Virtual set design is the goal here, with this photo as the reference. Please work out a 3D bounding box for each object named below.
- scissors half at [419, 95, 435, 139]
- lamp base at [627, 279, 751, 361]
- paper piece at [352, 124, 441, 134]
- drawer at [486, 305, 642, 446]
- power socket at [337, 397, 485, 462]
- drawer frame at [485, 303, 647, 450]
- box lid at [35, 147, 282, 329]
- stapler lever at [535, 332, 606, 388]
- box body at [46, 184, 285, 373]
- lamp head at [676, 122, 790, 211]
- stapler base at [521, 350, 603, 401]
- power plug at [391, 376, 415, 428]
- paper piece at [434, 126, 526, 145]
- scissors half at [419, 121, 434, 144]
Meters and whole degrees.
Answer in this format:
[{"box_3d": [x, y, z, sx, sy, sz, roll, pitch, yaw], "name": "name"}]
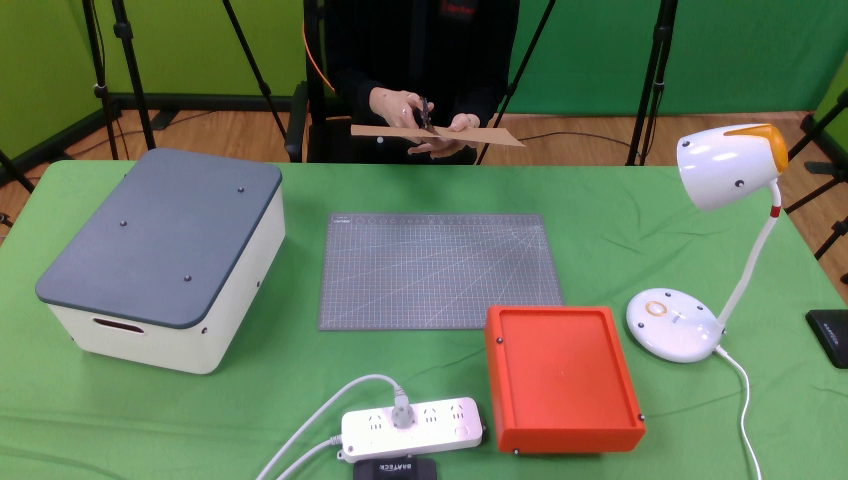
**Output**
[{"box_3d": [0.005, -0.211, 1.048, 0.013, 0.040, 0.174, -7, 35, -4], "name": "scissors half"}, {"box_3d": [0.460, 0.100, 1.026, 0.178, 0.181, 0.160, 27, 51, 17], "name": "lamp base"}, {"box_3d": [-0.047, -0.176, 0.961, 0.135, 0.004, 0.135, 0, 16, -6], "name": "paper piece"}, {"box_3d": [0.202, 0.200, 0.918, 0.195, 0.073, 0.210, 2, 47, -4], "name": "drawer"}, {"box_3d": [-0.018, 0.285, 0.915, 0.227, 0.033, 0.071, -4, 46, -8], "name": "power socket"}, {"box_3d": [0.204, 0.202, 0.917, 0.202, 0.083, 0.212, 1, 47, -4], "name": "drawer frame"}, {"box_3d": [-0.411, -0.023, 0.987, 0.263, 0.015, 0.369, 10, 47, 5], "name": "box lid"}, {"box_3d": [0.225, 0.182, 0.929, 0.118, 0.040, 0.027, 27, 34, 15], "name": "stapler lever"}, {"box_3d": [-0.414, 0.029, 1.040, 0.254, 0.161, 0.362, 10, 46, 5], "name": "box body"}, {"box_3d": [0.423, -0.104, 0.819, 0.122, 0.113, 0.112, -13, 33, 40], "name": "lamp head"}, {"box_3d": [0.217, 0.203, 0.942, 0.130, 0.024, 0.041, 26, 34, 16], "name": "stapler base"}, {"box_3d": [-0.031, 0.249, 0.917, 0.035, 0.053, 0.072, 3, 46, -1], "name": "power plug"}, {"box_3d": [0.084, -0.171, 0.981, 0.136, 0.008, 0.137, 6, 17, -9], "name": "paper piece"}, {"box_3d": [0.006, -0.190, 1.056, 0.013, 0.040, 0.175, -2, 6, -6], "name": "scissors half"}]
